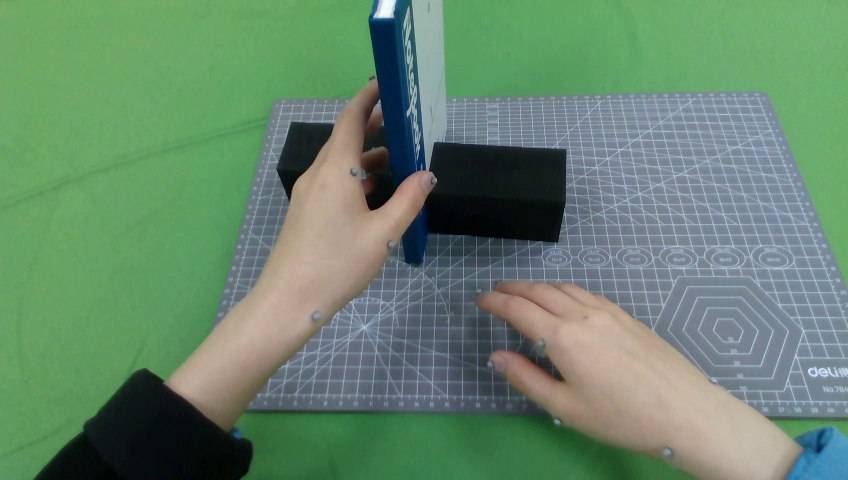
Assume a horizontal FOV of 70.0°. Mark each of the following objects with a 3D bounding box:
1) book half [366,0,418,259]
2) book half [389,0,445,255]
[{"bbox_3d":[-0.007,-0.104,0.412,0.016,0.212,0.147,4,55,7],"label":"book half"},{"bbox_3d":[0.000,-0.106,0.413,0.007,0.212,0.142,5,55,8],"label":"book half"}]
